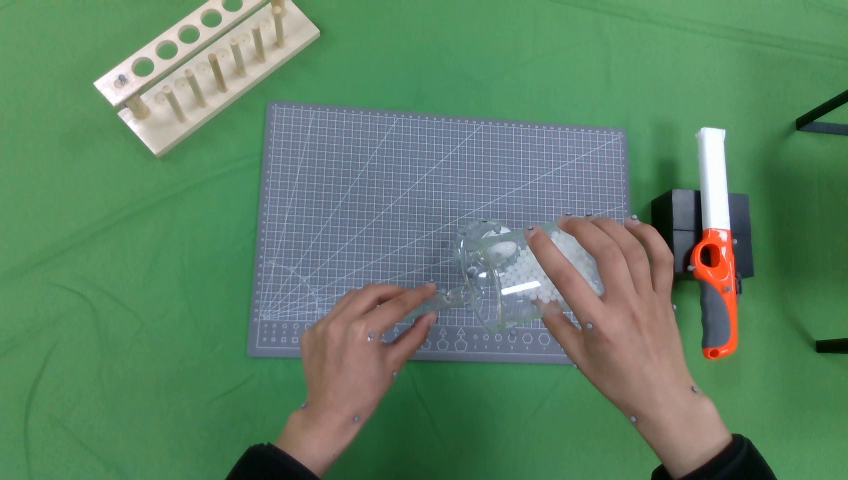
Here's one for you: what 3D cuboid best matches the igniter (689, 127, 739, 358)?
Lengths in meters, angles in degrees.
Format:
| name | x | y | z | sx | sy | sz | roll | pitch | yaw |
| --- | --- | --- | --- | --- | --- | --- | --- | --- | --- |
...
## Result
| name | x | y | z | sx | sy | sz | roll | pitch | yaw |
| --- | --- | --- | --- | --- | --- | --- | --- | --- | --- |
| igniter | 0.336 | -0.001 | 0.705 | 0.057 | 0.025 | 0.275 | 6 | 76 | -5 |

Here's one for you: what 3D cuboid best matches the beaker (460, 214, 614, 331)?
| name | x | y | z | sx | sy | sz | roll | pitch | yaw |
| --- | --- | --- | --- | --- | --- | --- | --- | --- | --- |
| beaker | 0.086 | 0.023 | 0.470 | 0.100 | 0.084 | 0.073 | -13 | 79 | -14 |

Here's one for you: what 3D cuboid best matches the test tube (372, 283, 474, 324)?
| name | x | y | z | sx | sy | sz | roll | pitch | yaw |
| --- | --- | --- | --- | --- | --- | --- | --- | --- | --- |
| test tube | -0.006 | 0.060 | 0.552 | 0.017 | 0.150 | 0.017 | 11 | 70 | -33 |

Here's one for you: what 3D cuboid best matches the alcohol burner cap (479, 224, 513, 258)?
| name | x | y | z | sx | sy | sz | roll | pitch | yaw |
| --- | --- | --- | --- | --- | --- | --- | --- | --- | --- |
| alcohol burner cap | 0.077 | 0.000 | 0.629 | 0.034 | 0.048 | 0.033 | 1 | 80 | -4 |

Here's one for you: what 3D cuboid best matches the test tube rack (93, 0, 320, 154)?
| name | x | y | z | sx | sy | sz | roll | pitch | yaw |
| --- | --- | --- | --- | --- | --- | --- | --- | --- | --- |
| test tube rack | -0.231 | -0.208 | 0.678 | 0.242 | 0.085 | 0.066 | -42 | 87 | -14 |

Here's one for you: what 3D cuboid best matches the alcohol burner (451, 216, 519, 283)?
| name | x | y | z | sx | sy | sz | roll | pitch | yaw |
| --- | --- | --- | --- | --- | --- | --- | --- | --- | --- |
| alcohol burner | 0.072 | 0.006 | 0.664 | 0.078 | 0.119 | 0.077 | 2 | 76 | -9 |
